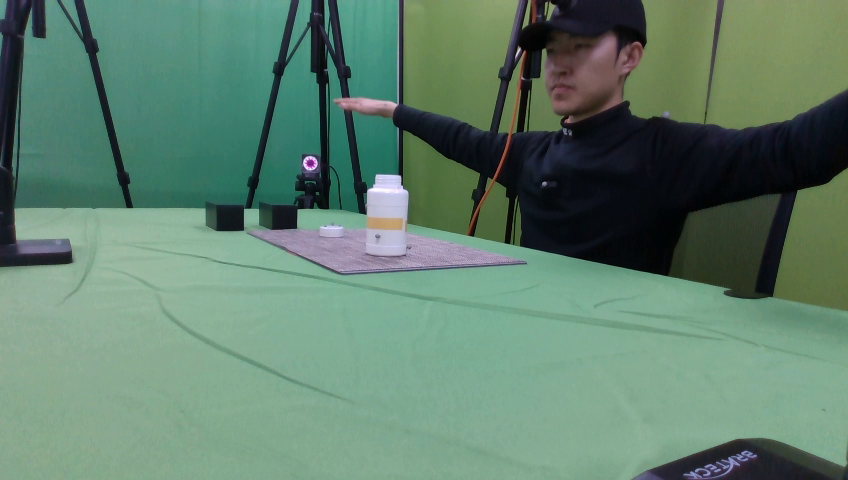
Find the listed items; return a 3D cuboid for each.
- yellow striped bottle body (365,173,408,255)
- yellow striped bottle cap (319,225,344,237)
[{"bbox_3d":[-0.055,-0.040,0.905,0.063,0.120,0.063,2,7,0],"label":"yellow striped bottle body"},{"bbox_3d":[-0.170,-0.017,1.108,0.044,0.018,0.044,1,6,0],"label":"yellow striped bottle cap"}]
